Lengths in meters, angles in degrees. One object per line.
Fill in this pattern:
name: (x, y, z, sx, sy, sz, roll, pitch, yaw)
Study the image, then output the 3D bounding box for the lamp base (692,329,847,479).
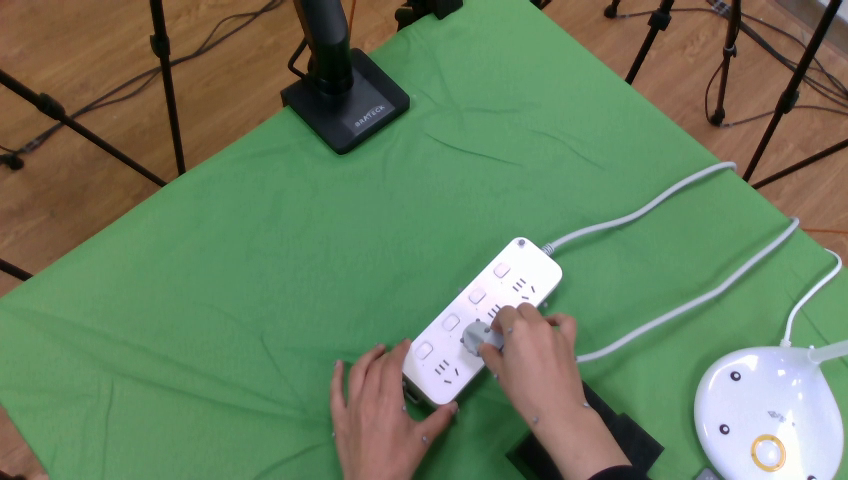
lamp base: (0.372, 0.145, 0.578, 0.160, 0.181, 0.178, 19, 65, 4)

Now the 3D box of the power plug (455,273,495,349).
power plug: (0.055, 0.077, 0.624, 0.035, 0.052, 0.072, 32, 59, -18)

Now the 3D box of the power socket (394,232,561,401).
power socket: (0.061, 0.079, 0.659, 0.072, 0.033, 0.226, 43, 71, 11)
